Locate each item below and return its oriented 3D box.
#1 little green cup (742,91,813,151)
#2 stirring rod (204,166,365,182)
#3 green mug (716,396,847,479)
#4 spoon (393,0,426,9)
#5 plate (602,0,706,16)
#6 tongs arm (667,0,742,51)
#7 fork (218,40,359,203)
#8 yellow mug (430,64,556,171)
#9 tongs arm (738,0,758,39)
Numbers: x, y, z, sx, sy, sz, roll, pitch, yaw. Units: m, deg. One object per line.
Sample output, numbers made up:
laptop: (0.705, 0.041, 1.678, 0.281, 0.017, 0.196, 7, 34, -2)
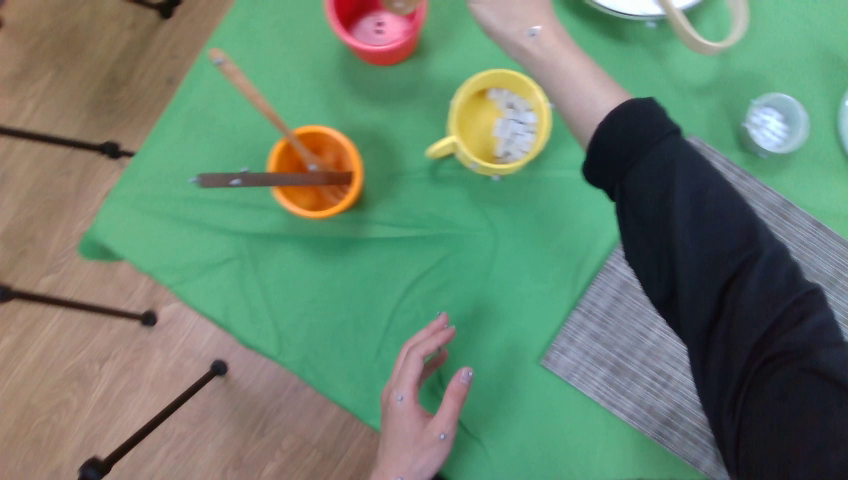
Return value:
little green cup: (0.374, -0.124, 0.646, 0.061, 0.038, 0.061, 0, 91, 1)
stirring rod: (-0.130, -0.066, 0.596, 0.177, 0.006, 0.014, -7, 92, -42)
green mug: (0.374, 0.203, 0.614, 0.125, 0.105, 0.092, -39, 90, 0)
spoon: (0.012, -0.249, 0.486, 0.042, 0.193, 0.021, 8, 76, -17)
plate: (0.244, -0.339, 0.643, 0.208, 0.039, 0.207, 0, 91, 0)
tongs arm: (0.205, -0.358, 0.611, 0.051, 0.026, 0.384, -27, 89, -3)
fork: (-0.127, -0.108, 0.589, 0.028, 0.018, 0.210, -40, 133, -2)
yellow mug: (0.068, -0.119, 0.632, 0.131, 0.064, 0.100, -23, 91, 1)
tongs arm: (0.283, -0.389, 0.612, 0.028, 0.028, 0.387, -13, 89, -6)
